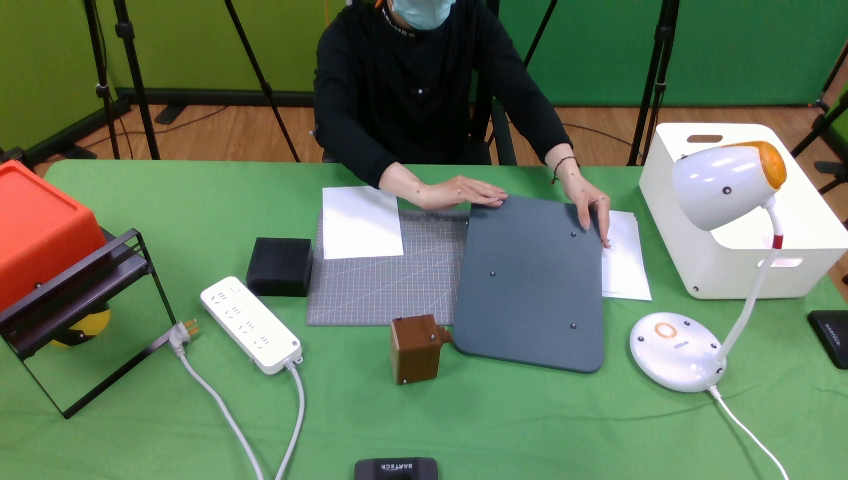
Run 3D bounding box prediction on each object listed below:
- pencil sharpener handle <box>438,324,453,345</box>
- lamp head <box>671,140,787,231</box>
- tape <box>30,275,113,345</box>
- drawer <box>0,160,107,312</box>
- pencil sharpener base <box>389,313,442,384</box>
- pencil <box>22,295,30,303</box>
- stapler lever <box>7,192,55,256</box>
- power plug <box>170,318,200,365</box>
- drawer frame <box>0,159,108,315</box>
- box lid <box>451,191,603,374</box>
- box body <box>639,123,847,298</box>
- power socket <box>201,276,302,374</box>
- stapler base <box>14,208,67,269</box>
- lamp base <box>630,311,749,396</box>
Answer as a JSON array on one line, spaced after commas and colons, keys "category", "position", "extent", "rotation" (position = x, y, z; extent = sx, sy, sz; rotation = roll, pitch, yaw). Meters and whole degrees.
[{"category": "pencil sharpener handle", "position": [0.036, 0.155, 0.976], "extent": [0.031, 0.068, 0.036], "rotation": [-8, 69, -11]}, {"category": "lamp head", "position": [0.415, -0.078, 0.811], "extent": [0.113, 0.123, 0.112], "rotation": [12, 70, -37]}, {"category": "tape", "position": [-0.593, 0.117, 1.021], "extent": [0.117, 0.053, 0.116], "rotation": [3, 46, -2]}, {"category": "drawer", "position": [-0.610, -0.001, 0.866], "extent": [0.194, 0.073, 0.211], "rotation": [29, 52, 21]}, {"category": "pencil sharpener base", "position": [-0.013, 0.175, 0.971], "extent": [0.077, 0.107, 0.061], "rotation": [-8, 47, -12]}, {"category": "pencil", "position": [-0.591, 0.010, 0.883], "extent": [0.012, 0.012, 0.193], "rotation": [-17, 61, -19]}, {"category": "stapler lever", "position": [-0.575, -0.026, 0.885], "extent": [0.027, 0.040, 0.117], "rotation": [-31, 56, -25]}, {"category": "power plug", "position": [-0.392, 0.167, 1.014], "extent": [0.052, 0.035, 0.072], "rotation": [-30, 91, -23]}, {"category": "drawer frame", "position": [-0.611, 0.000, 0.863], "extent": [0.201, 0.083, 0.213], "rotation": [27, 51, 20]}, {"category": "box lid", "position": [0.201, 0.061, 1.128], "extent": [0.263, 0.015, 0.369], "rotation": [9, 54, 3]}, {"category": "box body", "position": [0.609, -0.062, 1.204], "extent": [0.254, 0.161, 0.361], "rotation": [-1, 46, -4]}, {"category": "power socket", "position": [-0.297, 0.141, 1.034], "extent": [0.072, 0.033, 0.225], "rotation": [-34, 58, -30]}, {"category": "stapler base", "position": [-0.577, -0.010, 0.903], "extent": [0.041, 0.024, 0.130], "rotation": [-31, 57, -25]}, {"category": "lamp base", "position": [0.447, 0.143, 0.983], "extent": [0.161, 0.181, 0.178], "rotation": [-24, 55, -24]}]
